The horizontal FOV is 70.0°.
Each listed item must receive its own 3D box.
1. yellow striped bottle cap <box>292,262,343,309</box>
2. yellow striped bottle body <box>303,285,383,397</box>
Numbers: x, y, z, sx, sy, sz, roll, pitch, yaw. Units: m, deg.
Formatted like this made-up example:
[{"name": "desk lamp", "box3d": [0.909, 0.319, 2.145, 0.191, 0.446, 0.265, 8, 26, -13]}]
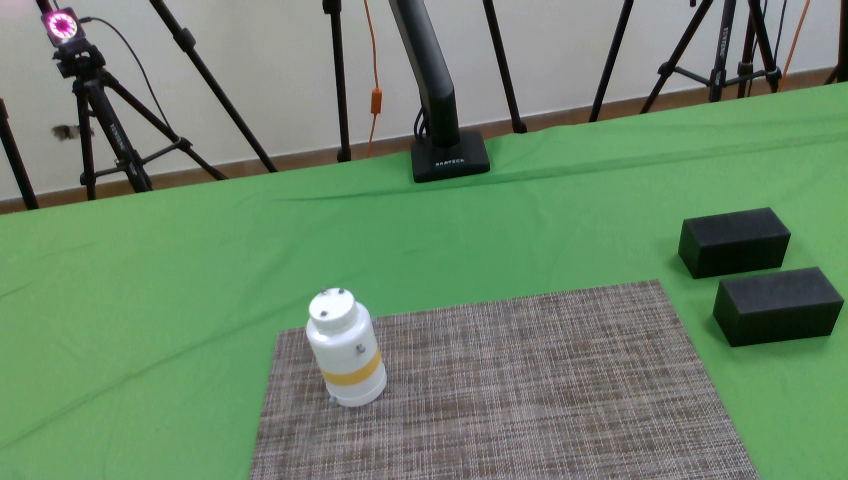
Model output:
[{"name": "yellow striped bottle cap", "box3d": [-0.097, 0.042, 0.557, 0.044, 0.019, 0.044, -7, 47, 8]}, {"name": "yellow striped bottle body", "box3d": [-0.082, 0.097, 0.604, 0.063, 0.121, 0.062, -6, 40, 5]}]
